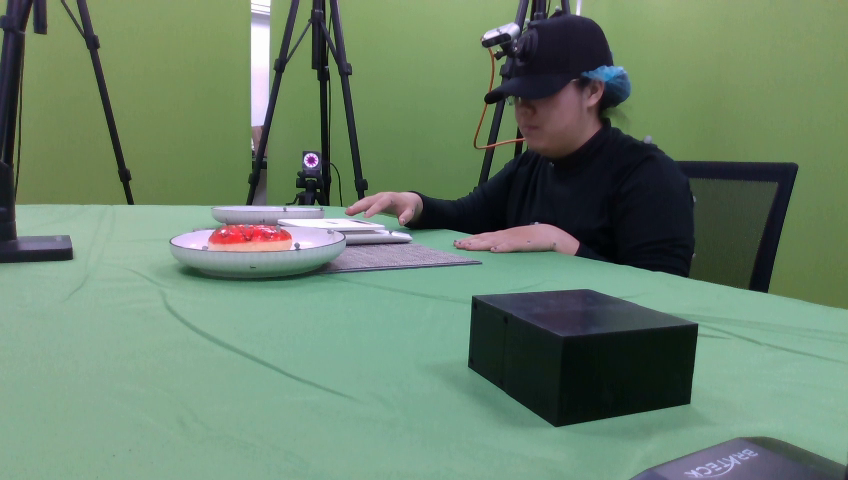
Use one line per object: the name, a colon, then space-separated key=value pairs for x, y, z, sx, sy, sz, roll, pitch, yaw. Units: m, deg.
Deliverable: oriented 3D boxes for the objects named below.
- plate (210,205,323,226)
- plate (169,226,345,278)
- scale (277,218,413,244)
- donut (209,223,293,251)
plate: x=-0.298 y=-0.043 z=1.152 sx=0.208 sy=0.039 sz=0.207 roll=2 pitch=5 yaw=0
plate: x=-0.202 y=0.014 z=0.748 sx=0.209 sy=0.038 sz=0.209 roll=1 pitch=9 yaw=0
scale: x=-0.134 y=-0.015 z=1.015 sx=0.202 sy=0.031 sz=0.148 roll=-1 pitch=9 yaw=-33
donut: x=-0.210 y=0.004 z=0.738 sx=0.099 sy=0.048 sz=0.099 roll=0 pitch=8 yaw=0
